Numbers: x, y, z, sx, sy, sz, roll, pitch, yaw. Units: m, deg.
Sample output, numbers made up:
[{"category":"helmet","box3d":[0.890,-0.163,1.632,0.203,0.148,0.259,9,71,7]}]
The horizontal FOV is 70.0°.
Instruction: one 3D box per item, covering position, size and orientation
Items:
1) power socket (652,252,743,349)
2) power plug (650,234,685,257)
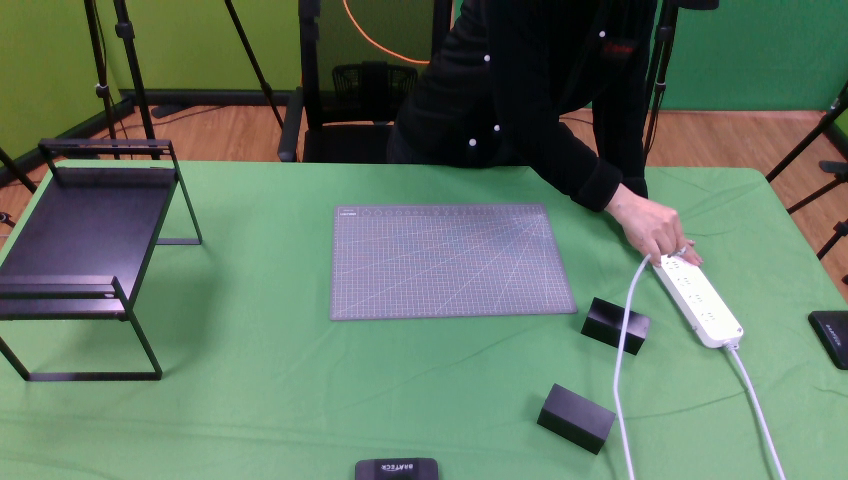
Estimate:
[{"category":"power socket","box3d":[0.503,0.105,1.126,0.072,0.033,0.225,-8,47,-11]},{"category":"power plug","box3d":[0.423,0.010,1.066,0.072,0.053,0.035,-1,54,-3]}]
